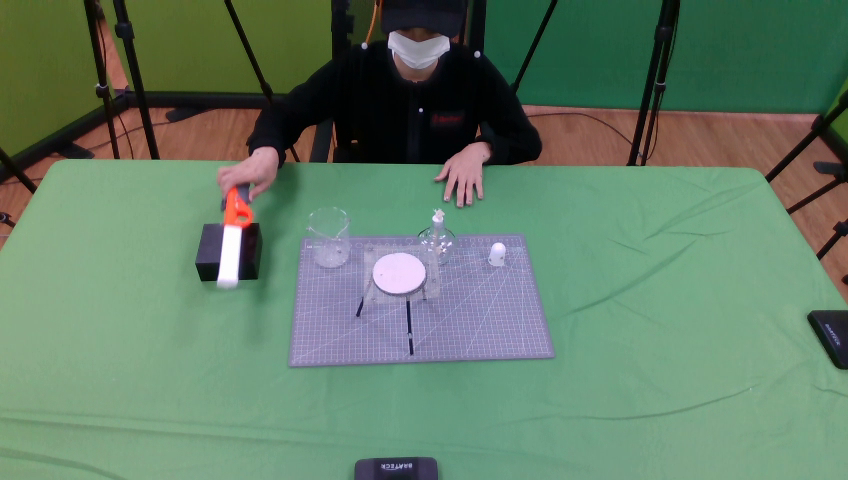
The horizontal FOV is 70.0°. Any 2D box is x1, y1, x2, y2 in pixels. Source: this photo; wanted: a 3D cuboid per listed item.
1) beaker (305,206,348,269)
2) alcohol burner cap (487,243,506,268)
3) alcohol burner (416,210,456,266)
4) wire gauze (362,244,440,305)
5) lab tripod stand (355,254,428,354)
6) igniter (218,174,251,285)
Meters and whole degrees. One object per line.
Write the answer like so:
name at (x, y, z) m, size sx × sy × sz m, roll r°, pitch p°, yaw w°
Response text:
beaker at (-0.177, 0.001, 1.126) m, size 0.074 × 0.101 × 0.083 m, roll -14°, pitch 49°, yaw -16°
alcohol burner cap at (0.141, 0.027, 1.166) m, size 0.034 × 0.048 × 0.033 m, roll 2°, pitch 45°, yaw -2°
alcohol burner at (0.023, -0.009, 1.141) m, size 0.078 × 0.120 × 0.077 m, roll 2°, pitch 44°, yaw -2°
wire gauze at (-0.038, 0.051, 0.971) m, size 0.121 × 0.011 × 0.124 m, roll -1°, pitch 46°, yaw -4°
lab tripod stand at (-0.046, 0.100, 1.017) m, size 0.148 × 0.132 × 0.147 m, roll 1°, pitch 47°, yaw -1°
igniter at (-0.340, -0.029, 1.085) m, size 0.057 × 0.025 × 0.274 m, roll 10°, pitch 41°, yaw -21°
